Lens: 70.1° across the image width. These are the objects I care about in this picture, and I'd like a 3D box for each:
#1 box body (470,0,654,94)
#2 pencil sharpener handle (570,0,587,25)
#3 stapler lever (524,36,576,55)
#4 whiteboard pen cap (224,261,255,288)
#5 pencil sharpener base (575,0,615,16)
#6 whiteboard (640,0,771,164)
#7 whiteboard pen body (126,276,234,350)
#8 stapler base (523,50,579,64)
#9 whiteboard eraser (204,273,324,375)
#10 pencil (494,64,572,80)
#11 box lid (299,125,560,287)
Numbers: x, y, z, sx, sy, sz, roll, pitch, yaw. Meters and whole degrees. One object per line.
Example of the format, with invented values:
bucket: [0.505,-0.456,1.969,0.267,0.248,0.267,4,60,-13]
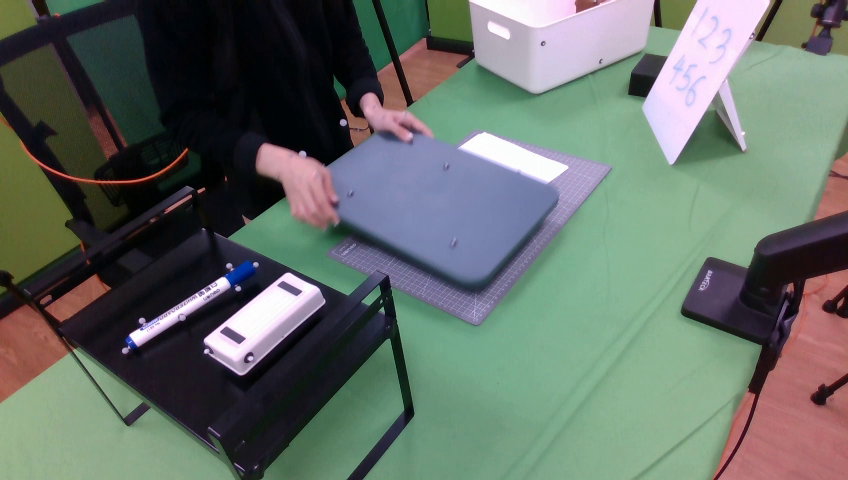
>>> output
box body: [0.319,-0.498,1.405,0.365,0.161,0.252,-26,43,-21]
pencil sharpener handle: [0.378,-0.568,1.493,0.036,0.068,0.030,-31,45,-26]
stapler lever: [0.296,-0.456,1.418,0.117,0.040,0.027,4,40,17]
whiteboard pen cap: [-0.207,0.039,0.677,0.033,0.018,0.018,-36,47,-18]
pencil sharpener base: [0.411,-0.536,1.469,0.061,0.107,0.076,-31,45,-26]
whiteboard: [0.543,-0.299,1.076,0.144,0.305,0.216,12,40,-7]
whiteboard pen body: [-0.251,0.070,0.649,0.141,0.017,0.017,-36,48,-26]
stapler base: [0.301,-0.436,1.434,0.130,0.024,0.041,5,40,17]
whiteboard eraser: [-0.157,0.084,0.605,0.055,0.042,0.113,24,49,30]
pencil: [0.249,-0.391,1.398,0.192,0.012,0.012,19,47,27]
box lid: [0.008,-0.072,0.982,0.369,0.015,0.264,26,50,27]
